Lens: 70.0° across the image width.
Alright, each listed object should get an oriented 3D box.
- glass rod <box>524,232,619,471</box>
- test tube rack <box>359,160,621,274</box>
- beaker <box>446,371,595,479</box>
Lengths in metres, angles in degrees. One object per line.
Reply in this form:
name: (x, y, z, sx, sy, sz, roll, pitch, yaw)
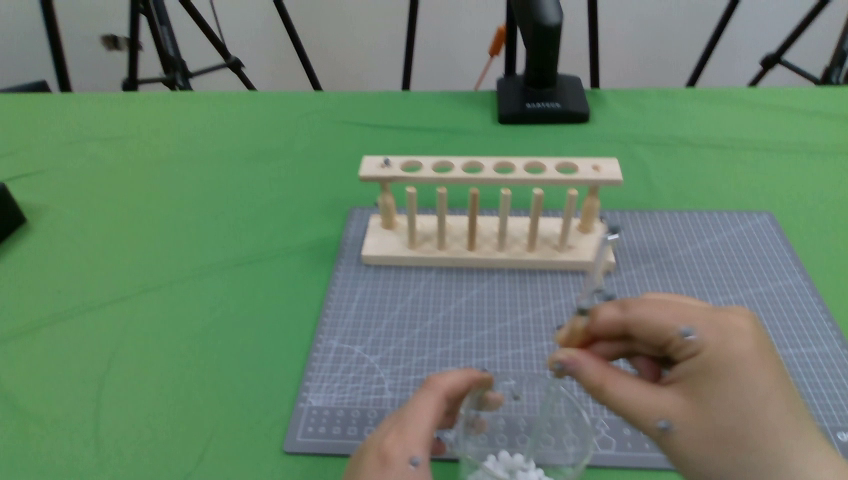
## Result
glass rod: (0.070, 0.070, 0.309, 0.008, 0.201, 0.008, 2, 44, -2)
test tube rack: (0.060, -0.023, 0.585, 0.242, 0.086, 0.066, 1, 40, 5)
beaker: (0.052, 0.141, 0.366, 0.084, 0.101, 0.073, -9, 40, -12)
